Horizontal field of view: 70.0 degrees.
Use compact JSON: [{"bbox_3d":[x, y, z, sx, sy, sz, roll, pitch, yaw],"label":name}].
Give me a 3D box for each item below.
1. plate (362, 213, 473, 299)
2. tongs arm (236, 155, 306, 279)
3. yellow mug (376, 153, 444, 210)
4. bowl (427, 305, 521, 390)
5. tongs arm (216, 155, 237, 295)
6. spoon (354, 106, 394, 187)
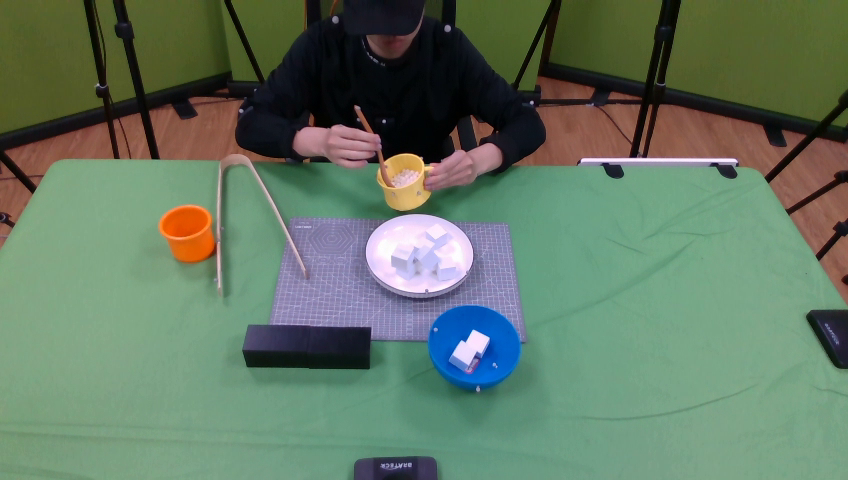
[{"bbox_3d":[-0.013,0.034,1.150,0.208,0.039,0.206,2,46,-2],"label":"plate"},{"bbox_3d":[-0.312,-0.058,1.224,0.028,0.028,0.385,-22,50,-18],"label":"tongs arm"},{"bbox_3d":[-0.026,-0.120,1.220,0.131,0.064,0.099,-9,49,8],"label":"yellow mug"},{"bbox_3d":[0.076,0.188,0.985,0.151,0.077,0.150,3,46,-3],"label":"bowl"},{"bbox_3d":[-0.388,-0.043,1.201,0.051,0.026,0.382,-9,46,-12],"label":"tongs arm"},{"bbox_3d":[-0.090,-0.171,1.155,0.021,0.195,0.041,-24,32,-6],"label":"spoon"}]
